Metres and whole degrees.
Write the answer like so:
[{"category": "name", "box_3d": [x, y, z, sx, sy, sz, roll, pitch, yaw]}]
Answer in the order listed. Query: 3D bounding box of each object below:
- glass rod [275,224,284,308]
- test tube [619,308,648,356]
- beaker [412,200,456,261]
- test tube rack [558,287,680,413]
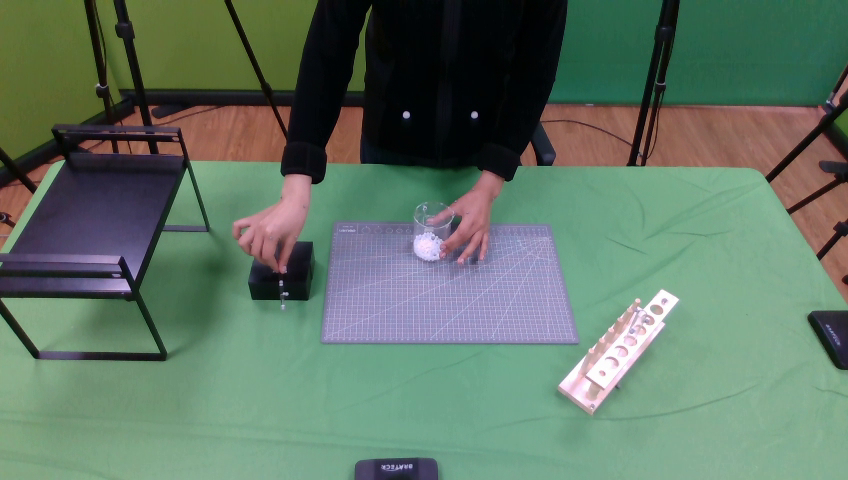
[{"category": "glass rod", "box_3d": [-0.256, 0.041, 1.077, 0.008, 0.008, 0.198, -7, 48, -10]}, {"category": "test tube", "box_3d": [0.327, 0.155, 0.955, 0.017, 0.151, 0.017, -1, 50, 1]}, {"category": "beaker", "box_3d": [0.017, -0.016, 1.152, 0.084, 0.101, 0.073, -12, 49, -14]}, {"category": "test tube rack", "box_3d": [0.327, 0.170, 1.009, 0.066, 0.085, 0.242, 36, 54, 26]}]
